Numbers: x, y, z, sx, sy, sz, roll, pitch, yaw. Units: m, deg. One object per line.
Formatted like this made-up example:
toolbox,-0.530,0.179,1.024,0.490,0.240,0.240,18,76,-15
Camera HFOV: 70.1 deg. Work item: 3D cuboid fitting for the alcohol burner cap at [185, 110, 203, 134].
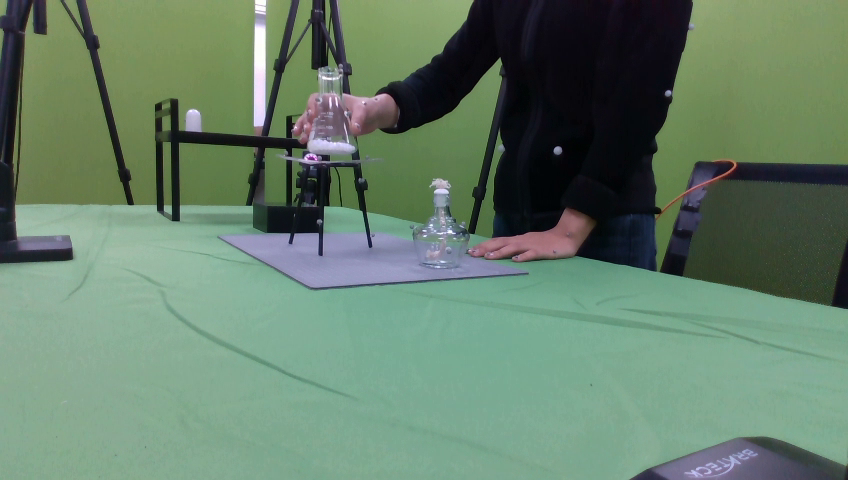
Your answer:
alcohol burner cap,-0.470,-0.242,1.234,0.034,0.048,0.034,4,7,0

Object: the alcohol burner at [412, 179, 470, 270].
alcohol burner,0.023,-0.021,0.805,0.078,0.119,0.078,0,8,0

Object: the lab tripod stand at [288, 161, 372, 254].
lab tripod stand,-0.147,-0.052,0.909,0.148,0.131,0.148,1,8,0

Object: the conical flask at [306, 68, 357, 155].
conical flask,-0.138,-0.189,0.892,0.075,0.122,0.075,-1,4,0

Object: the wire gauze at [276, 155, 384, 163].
wire gauze,-0.141,-0.118,0.900,0.122,0.011,0.124,-3,8,-37
